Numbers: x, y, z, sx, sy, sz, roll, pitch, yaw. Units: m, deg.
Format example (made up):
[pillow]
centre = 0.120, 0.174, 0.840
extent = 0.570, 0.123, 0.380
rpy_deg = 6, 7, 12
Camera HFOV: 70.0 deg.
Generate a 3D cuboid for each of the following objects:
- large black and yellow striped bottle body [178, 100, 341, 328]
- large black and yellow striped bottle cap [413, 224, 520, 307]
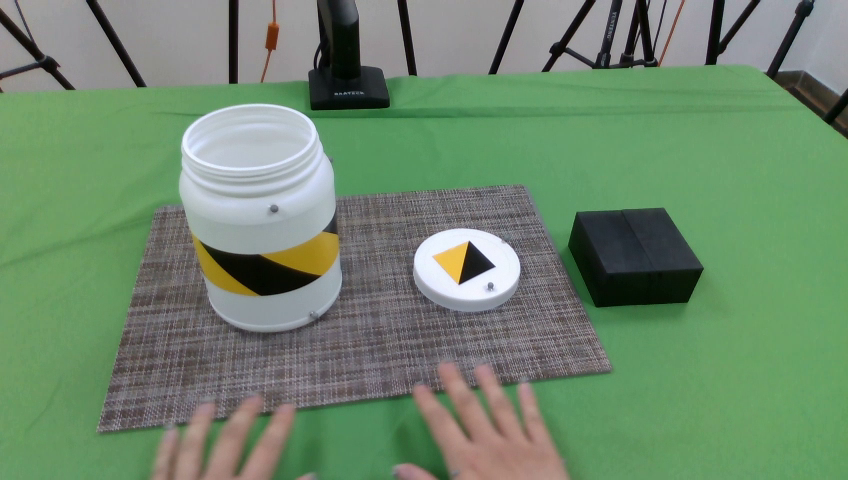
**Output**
[large black and yellow striped bottle body]
centre = -0.148, -0.023, 0.562
extent = 0.131, 0.185, 0.129
rpy_deg = 2, 41, -1
[large black and yellow striped bottle cap]
centre = 0.045, 0.025, 0.648
extent = 0.115, 0.019, 0.114
rpy_deg = 1, 41, -1
